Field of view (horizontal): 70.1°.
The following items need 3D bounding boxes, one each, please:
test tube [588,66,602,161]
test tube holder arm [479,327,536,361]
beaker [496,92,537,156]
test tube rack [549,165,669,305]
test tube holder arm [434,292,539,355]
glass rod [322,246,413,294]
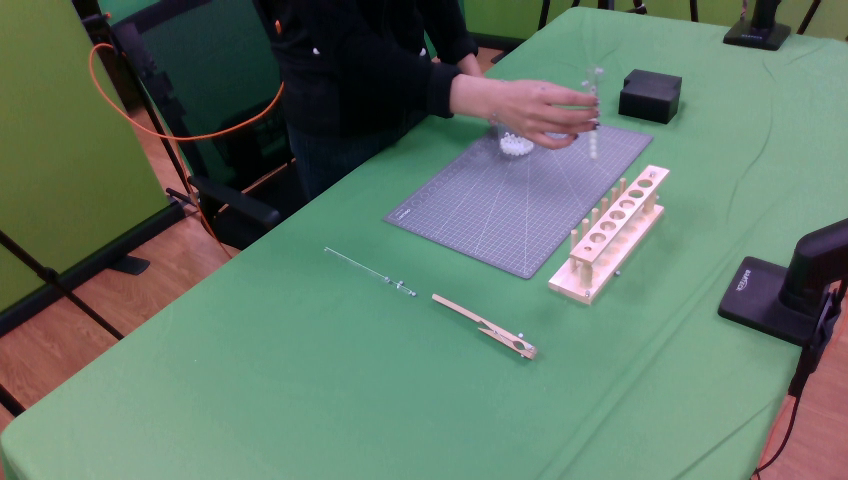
[{"bbox_3d":[0.235,-0.169,0.828,0.017,0.151,0.017,-8,44,9],"label":"test tube"},{"bbox_3d":[0.110,0.135,0.805,0.087,0.015,0.010,29,84,36],"label":"test tube holder arm"},{"bbox_3d":[0.172,-0.214,1.137,0.084,0.101,0.073,-36,47,-27],"label":"beaker"},{"bbox_3d":[0.279,-0.018,0.902,0.066,0.085,0.243,24,50,33],"label":"test tube rack"},{"bbox_3d":[0.081,0.113,0.832,0.177,0.015,0.013,28,84,36],"label":"test tube holder arm"},{"bbox_3d":[-0.093,0.045,0.955,0.198,0.008,0.008,24,51,33],"label":"glass rod"}]
